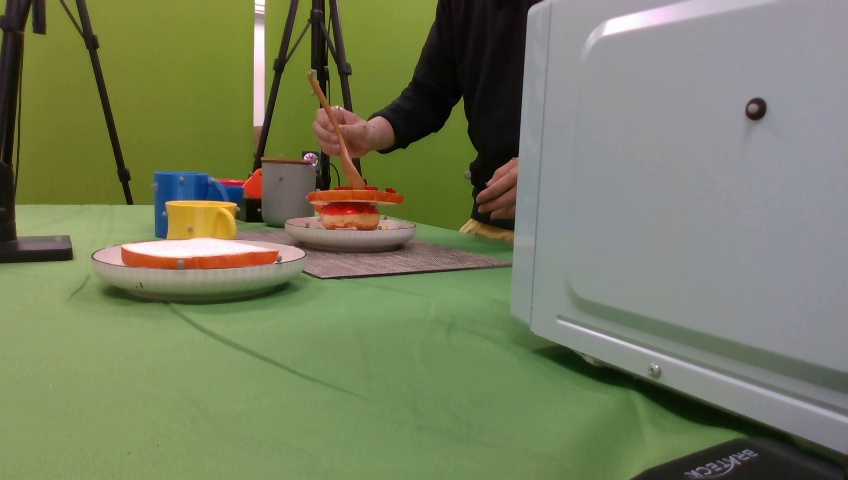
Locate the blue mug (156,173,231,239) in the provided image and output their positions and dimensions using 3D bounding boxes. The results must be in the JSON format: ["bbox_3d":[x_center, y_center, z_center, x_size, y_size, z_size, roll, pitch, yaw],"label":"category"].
[{"bbox_3d":[-0.381,-0.057,1.004,0.117,0.106,0.082,0,8,-12],"label":"blue mug"}]

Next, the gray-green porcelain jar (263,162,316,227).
[{"bbox_3d":[-0.271,-0.092,1.217,0.106,0.126,0.106,2,7,0],"label":"gray-green porcelain jar"}]

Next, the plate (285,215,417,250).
[{"bbox_3d":[-0.116,-0.014,0.964,0.209,0.038,0.209,2,7,0],"label":"plate"}]

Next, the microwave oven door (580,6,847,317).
[{"bbox_3d":[0.295,-0.067,0.570,0.358,0.243,0.039,-3,9,-31],"label":"microwave oven door"}]

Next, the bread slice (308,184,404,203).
[{"bbox_3d":[-0.113,-0.072,0.954,0.134,0.018,0.107,-3,-2,21],"label":"bread slice"}]

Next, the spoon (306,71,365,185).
[{"bbox_3d":[-0.136,-0.167,0.927,0.022,0.193,0.041,-25,9,-27],"label":"spoon"}]

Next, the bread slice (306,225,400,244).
[{"bbox_3d":[-0.103,-0.010,0.962,0.131,0.019,0.105,3,8,25],"label":"bread slice"}]

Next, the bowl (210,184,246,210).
[{"bbox_3d":[-0.422,-0.067,1.166,0.151,0.077,0.151,2,7,0],"label":"bowl"}]

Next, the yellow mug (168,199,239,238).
[{"bbox_3d":[-0.319,-0.023,0.904,0.130,0.064,0.100,9,11,36],"label":"yellow mug"}]

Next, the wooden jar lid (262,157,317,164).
[{"bbox_3d":[-0.269,-0.154,1.208,0.108,0.020,0.108,3,4,0],"label":"wooden jar lid"}]

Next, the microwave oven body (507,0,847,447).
[{"bbox_3d":[0.331,-0.042,0.425,0.444,0.260,0.324,-2,8,-31],"label":"microwave oven body"}]

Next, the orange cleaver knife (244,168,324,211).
[{"bbox_3d":[-0.300,-0.089,1.351,0.212,0.077,0.012,28,-9,-34],"label":"orange cleaver knife"}]

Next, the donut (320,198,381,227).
[{"bbox_3d":[-0.117,-0.042,0.965,0.099,0.048,0.099,-9,-7,-1],"label":"donut"}]

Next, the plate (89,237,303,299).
[{"bbox_3d":[-0.233,0.029,0.636,0.208,0.039,0.207,2,7,0],"label":"plate"}]

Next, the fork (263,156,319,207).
[{"bbox_3d":[-0.331,-0.144,1.505,0.207,0.018,0.028,-42,-20,22],"label":"fork"}]

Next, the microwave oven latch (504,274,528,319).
[{"bbox_3d":[0.100,0.041,0.471,0.079,0.029,0.030,-1,7,-28],"label":"microwave oven latch"}]
